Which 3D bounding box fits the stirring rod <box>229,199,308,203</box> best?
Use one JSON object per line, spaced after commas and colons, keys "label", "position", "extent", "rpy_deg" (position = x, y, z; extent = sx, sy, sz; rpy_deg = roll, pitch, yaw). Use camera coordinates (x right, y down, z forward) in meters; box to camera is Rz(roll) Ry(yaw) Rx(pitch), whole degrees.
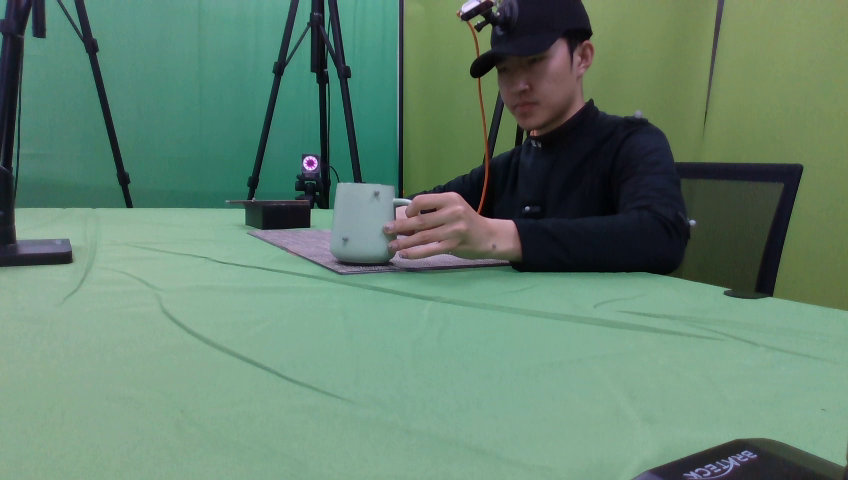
{"label": "stirring rod", "position": [-0.317, -0.081, 1.246], "extent": [0.177, 0.006, 0.014], "rpy_deg": [-4, 8, -43]}

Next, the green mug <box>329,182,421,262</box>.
{"label": "green mug", "position": [-0.065, -0.024, 0.820], "extent": [0.125, 0.105, 0.092], "rpy_deg": [3, 4, 9]}
